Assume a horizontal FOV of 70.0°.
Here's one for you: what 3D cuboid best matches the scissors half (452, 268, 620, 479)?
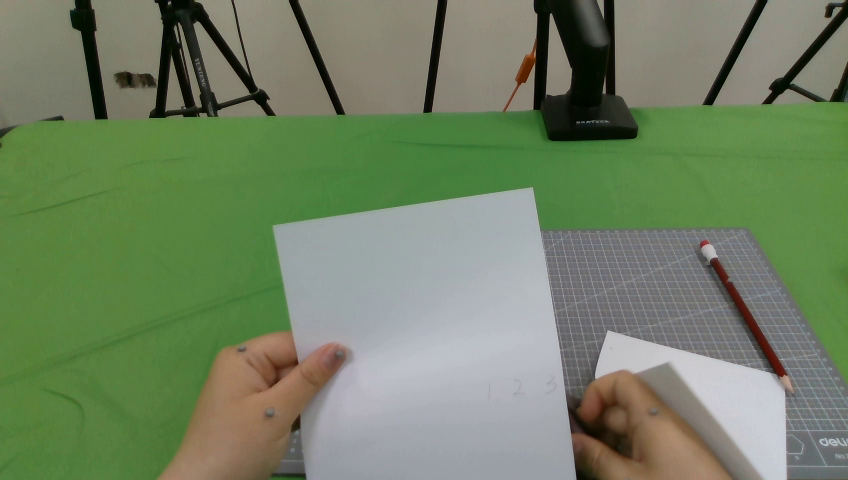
[{"bbox_3d":[0.067,0.088,0.393,0.040,0.013,0.174,-4,55,-56],"label":"scissors half"}]

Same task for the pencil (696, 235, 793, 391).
[{"bbox_3d":[0.286,0.058,0.547,0.012,0.012,0.192,-3,39,0],"label":"pencil"}]

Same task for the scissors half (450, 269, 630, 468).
[{"bbox_3d":[0.077,0.085,0.412,0.175,0.013,0.040,47,22,0],"label":"scissors half"}]
